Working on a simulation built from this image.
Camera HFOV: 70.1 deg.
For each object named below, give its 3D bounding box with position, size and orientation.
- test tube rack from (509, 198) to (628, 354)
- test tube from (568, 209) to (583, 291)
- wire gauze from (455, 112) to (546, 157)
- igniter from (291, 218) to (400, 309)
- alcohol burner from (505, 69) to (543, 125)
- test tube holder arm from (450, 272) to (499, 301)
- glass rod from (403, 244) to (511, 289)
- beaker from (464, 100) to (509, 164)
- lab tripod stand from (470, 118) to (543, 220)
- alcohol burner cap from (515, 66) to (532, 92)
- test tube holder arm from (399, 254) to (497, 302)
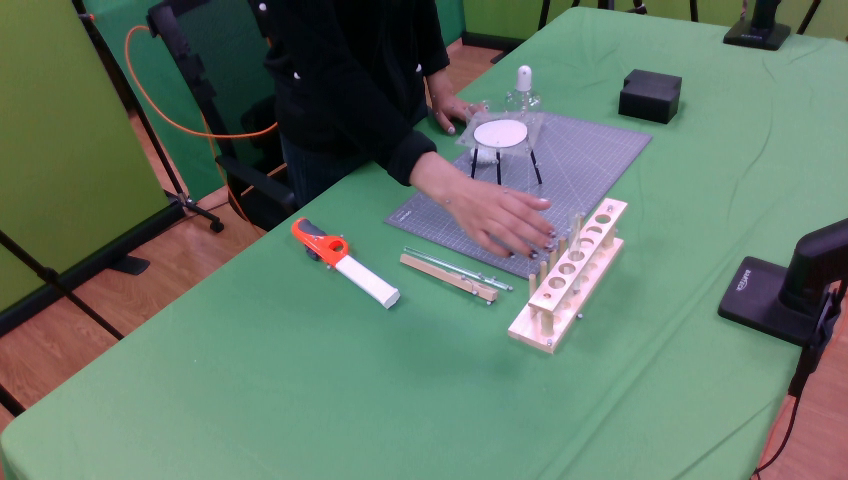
[{"bbox_3d":[0.206,0.039,0.849,0.066,0.085,0.243,20,48,31],"label":"test tube rack"},{"bbox_3d":[0.200,0.018,0.798,0.017,0.151,0.017,-8,45,8],"label":"test tube"},{"bbox_3d":[0.124,-0.176,0.972,0.124,0.011,0.121,9,42,20],"label":"wire gauze"},{"bbox_3d":[-0.135,0.031,0.970,0.057,0.025,0.274,-41,48,-19],"label":"igniter"},{"bbox_3d":[0.201,-0.293,1.216,0.078,0.119,0.077,-4,41,4],"label":"alcohol burner"},{"bbox_3d":[0.071,0.068,0.894,0.087,0.015,0.010,21,15,32],"label":"test tube holder arm"},{"bbox_3d":[0.047,0.039,0.938,0.198,0.008,0.008,21,49,30],"label":"glass rod"},{"bbox_3d":[0.120,-0.200,1.133,0.083,0.101,0.074,5,43,16],"label":"beaker"},{"bbox_3d":[0.135,-0.128,1.019,0.148,0.132,0.147,-5,38,5],"label":"lab tripod stand"},{"bbox_3d":[0.199,-0.319,1.192,0.034,0.048,0.033,-1,47,1],"label":"alcohol burner cap"},{"bbox_3d":[0.032,0.055,0.913,0.177,0.015,0.013,21,15,31],"label":"test tube holder arm"}]
